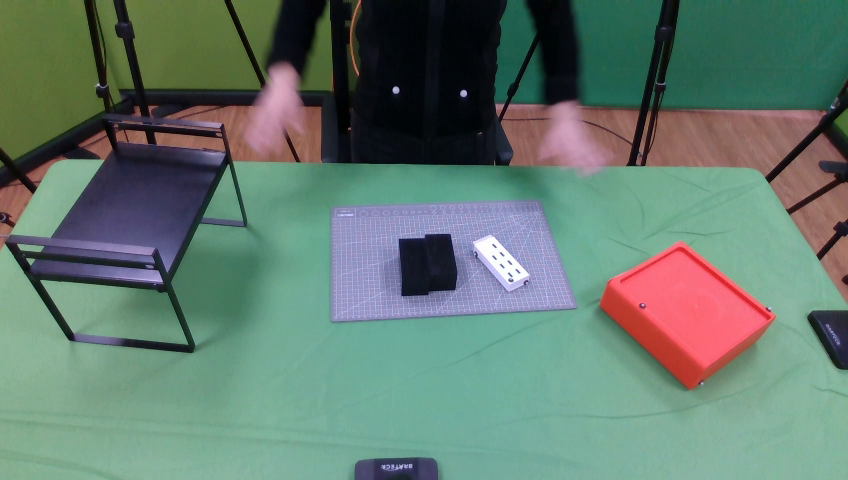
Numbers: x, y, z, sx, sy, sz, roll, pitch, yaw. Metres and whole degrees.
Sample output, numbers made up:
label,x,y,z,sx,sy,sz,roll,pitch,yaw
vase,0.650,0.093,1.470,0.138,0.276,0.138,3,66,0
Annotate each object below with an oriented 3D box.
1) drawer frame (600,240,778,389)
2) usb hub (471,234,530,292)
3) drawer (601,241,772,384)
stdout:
label,x,y,z,sx,sy,sz,roll,pitch,yaw
drawer frame,0.460,0.122,1.068,0.202,0.083,0.212,-25,53,-25
usb hub,0.145,0.042,1.160,0.049,0.025,0.124,-23,51,-23
drawer,0.458,0.121,1.072,0.194,0.073,0.210,-23,52,-25
